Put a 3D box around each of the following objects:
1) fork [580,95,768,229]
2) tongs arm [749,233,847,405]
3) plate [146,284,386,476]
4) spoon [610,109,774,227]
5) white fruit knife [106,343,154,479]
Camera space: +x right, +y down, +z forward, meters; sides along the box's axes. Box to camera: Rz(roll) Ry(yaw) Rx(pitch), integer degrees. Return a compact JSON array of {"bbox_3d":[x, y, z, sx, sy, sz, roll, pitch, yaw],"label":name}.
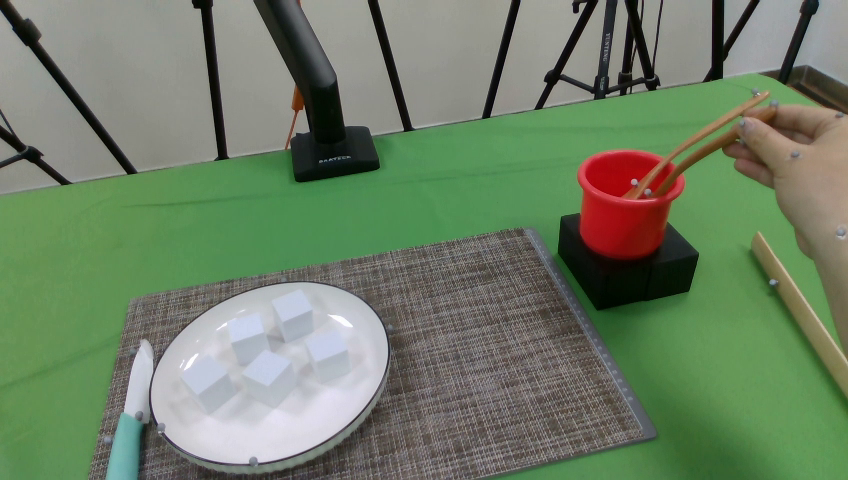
[{"bbox_3d":[0.241,-0.074,0.589,0.207,0.019,0.028,-40,15,13],"label":"fork"},{"bbox_3d":[0.368,0.119,0.517,0.028,0.028,0.383,-2,38,0],"label":"tongs arm"},{"bbox_3d":[-0.136,0.122,0.545,0.207,0.039,0.205,-2,38,2],"label":"plate"},{"bbox_3d":[0.223,-0.056,0.525,0.021,0.194,0.041,46,61,8],"label":"spoon"},{"bbox_3d":[-0.252,0.161,0.526,0.027,0.016,0.205,13,29,-25],"label":"white fruit knife"}]
